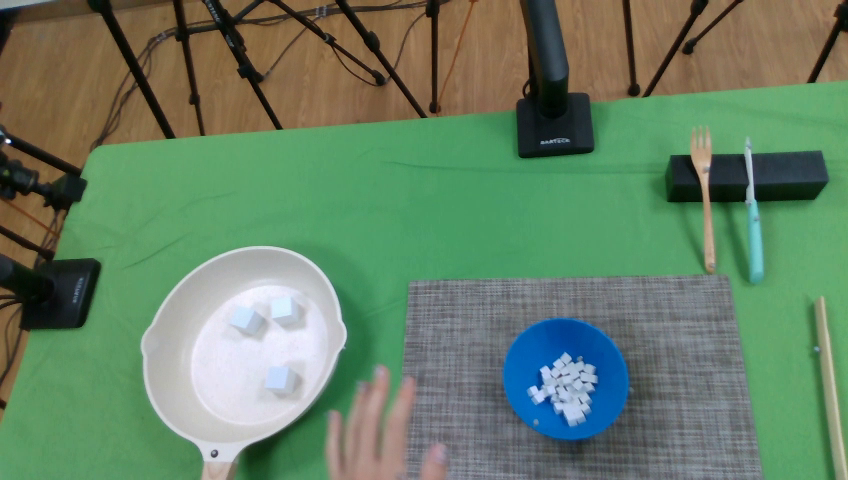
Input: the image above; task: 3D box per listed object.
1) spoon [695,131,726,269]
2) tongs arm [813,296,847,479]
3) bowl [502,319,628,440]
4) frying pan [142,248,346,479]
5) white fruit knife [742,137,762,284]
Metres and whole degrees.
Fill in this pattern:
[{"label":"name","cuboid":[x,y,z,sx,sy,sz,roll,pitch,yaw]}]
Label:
[{"label":"spoon","cuboid":[0.395,-0.056,0.845,0.041,0.022,0.193,3,84,37]},{"label":"tongs arm","cuboid":[0.493,0.248,0.708,0.028,0.028,0.384,2,64,10]},{"label":"bowl","cuboid":[0.177,0.183,0.770,0.151,0.077,0.150,-4,63,9]},{"label":"frying pan","cuboid":[-0.261,0.239,0.819,0.306,0.104,0.483,-2,55,11]},{"label":"white fruit knife","cuboid":[0.449,-0.044,0.835,0.016,0.027,0.206,0,78,7]}]
